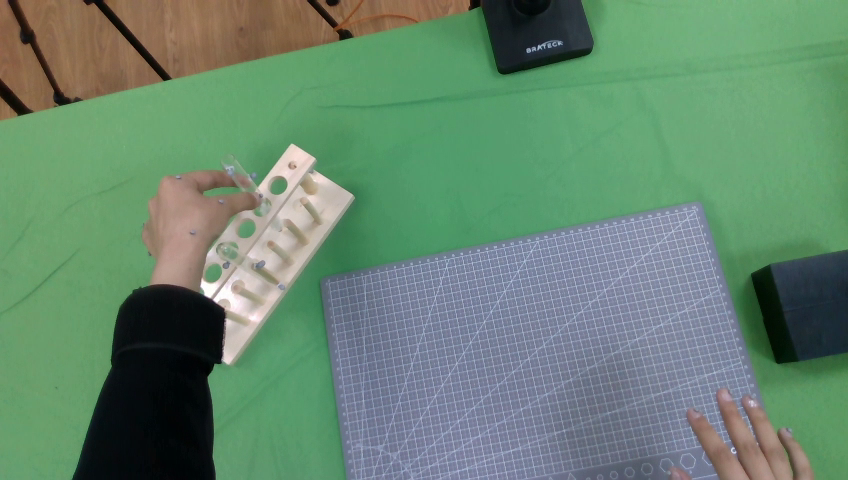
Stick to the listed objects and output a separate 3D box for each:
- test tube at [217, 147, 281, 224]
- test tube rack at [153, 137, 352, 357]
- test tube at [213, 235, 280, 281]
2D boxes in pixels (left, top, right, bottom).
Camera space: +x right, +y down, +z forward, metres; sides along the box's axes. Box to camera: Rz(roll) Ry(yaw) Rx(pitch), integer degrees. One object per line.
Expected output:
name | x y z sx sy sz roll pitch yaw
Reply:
test tube | -0.181 -0.053 0.642 0.017 0.151 0.017 -2 66 6
test tube rack | -0.187 0.011 0.686 0.066 0.085 0.242 33 82 13
test tube | -0.184 0.021 0.637 0.017 0.151 0.017 -2 74 7
